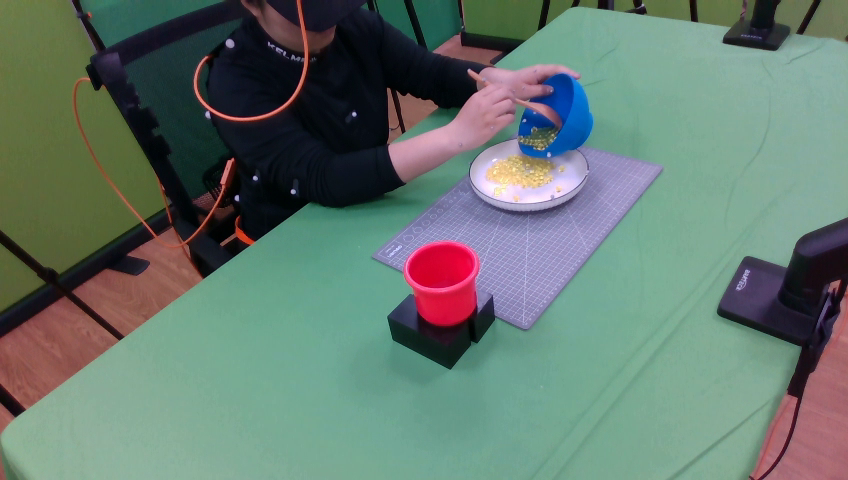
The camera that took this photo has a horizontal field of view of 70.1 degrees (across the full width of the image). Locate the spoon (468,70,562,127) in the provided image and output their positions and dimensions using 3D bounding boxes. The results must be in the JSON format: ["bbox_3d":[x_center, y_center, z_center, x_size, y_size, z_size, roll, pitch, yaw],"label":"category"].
[{"bbox_3d":[0.159,-0.244,1.041,0.194,0.021,0.041,22,41,-12],"label":"spoon"}]

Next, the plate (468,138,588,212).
[{"bbox_3d":[0.182,-0.111,1.064,0.207,0.039,0.206,-5,40,5],"label":"plate"}]

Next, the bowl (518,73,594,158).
[{"bbox_3d":[0.240,-0.204,1.050,0.077,0.151,0.150,18,34,-23],"label":"bowl"}]
